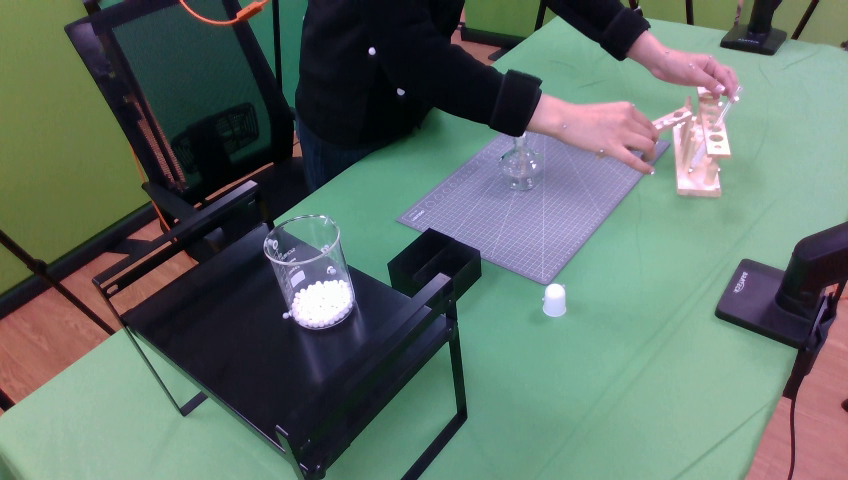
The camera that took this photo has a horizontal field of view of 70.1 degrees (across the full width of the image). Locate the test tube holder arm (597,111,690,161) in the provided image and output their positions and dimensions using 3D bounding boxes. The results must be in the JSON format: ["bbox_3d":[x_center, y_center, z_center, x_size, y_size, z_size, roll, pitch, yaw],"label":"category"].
[{"bbox_3d":[0.316,-0.150,0.864,0.179,0.015,0.013,-27,59,-23],"label":"test tube holder arm"}]

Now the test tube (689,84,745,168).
[{"bbox_3d":[0.484,-0.187,1.005,0.017,0.150,0.017,20,24,-9],"label":"test tube"}]

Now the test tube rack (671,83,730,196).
[{"bbox_3d":[0.482,-0.184,1.067,0.066,0.085,0.242,6,42,15],"label":"test tube rack"}]

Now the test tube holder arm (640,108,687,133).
[{"bbox_3d":[0.351,-0.173,0.885,0.088,0.015,0.010,-26,58,-22],"label":"test tube holder arm"}]

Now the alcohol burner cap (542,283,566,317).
[{"bbox_3d":[0.182,0.081,0.839,0.034,0.048,0.033,-4,41,4],"label":"alcohol burner cap"}]

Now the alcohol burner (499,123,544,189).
[{"bbox_3d":[0.169,-0.149,1.048,0.078,0.119,0.077,-6,41,6],"label":"alcohol burner"}]

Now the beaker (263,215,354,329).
[{"bbox_3d":[-0.112,0.034,0.616,0.073,0.101,0.084,13,44,23],"label":"beaker"}]
